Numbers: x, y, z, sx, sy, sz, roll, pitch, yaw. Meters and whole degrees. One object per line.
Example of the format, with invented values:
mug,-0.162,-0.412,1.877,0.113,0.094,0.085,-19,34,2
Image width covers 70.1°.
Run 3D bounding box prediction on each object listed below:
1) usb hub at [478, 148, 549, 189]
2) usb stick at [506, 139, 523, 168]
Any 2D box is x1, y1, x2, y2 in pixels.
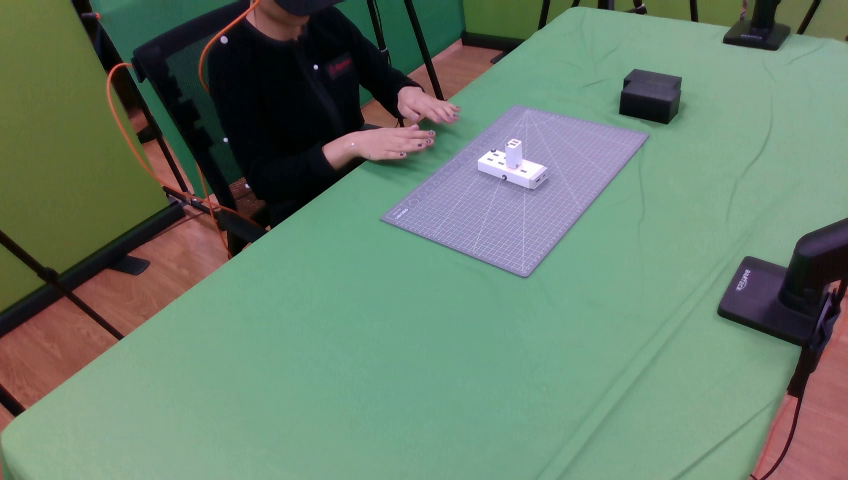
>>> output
usb hub,0.161,-0.131,1.099,0.124,0.025,0.049,26,51,34
usb stick,0.160,-0.148,1.074,0.021,0.059,0.027,24,48,33
